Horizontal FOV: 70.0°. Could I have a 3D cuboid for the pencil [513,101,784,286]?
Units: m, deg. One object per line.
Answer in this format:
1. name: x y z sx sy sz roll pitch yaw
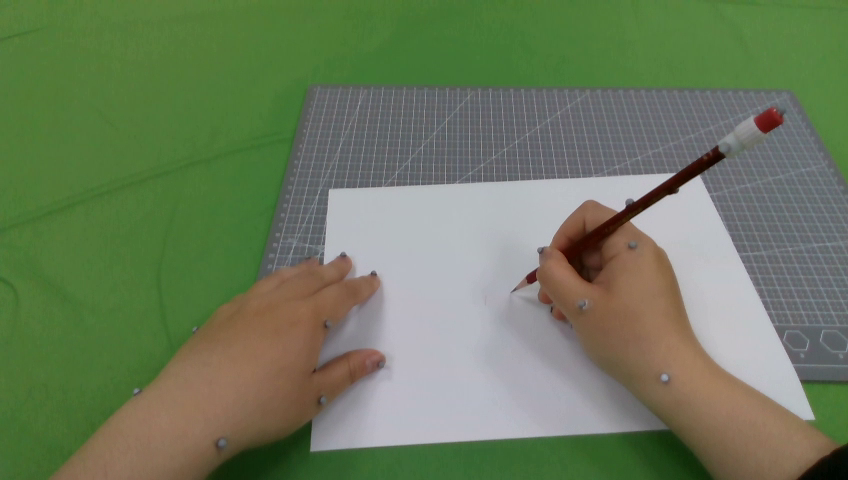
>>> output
1. pencil: 0.110 -0.014 0.343 0.012 0.194 0.012 18 53 -26
